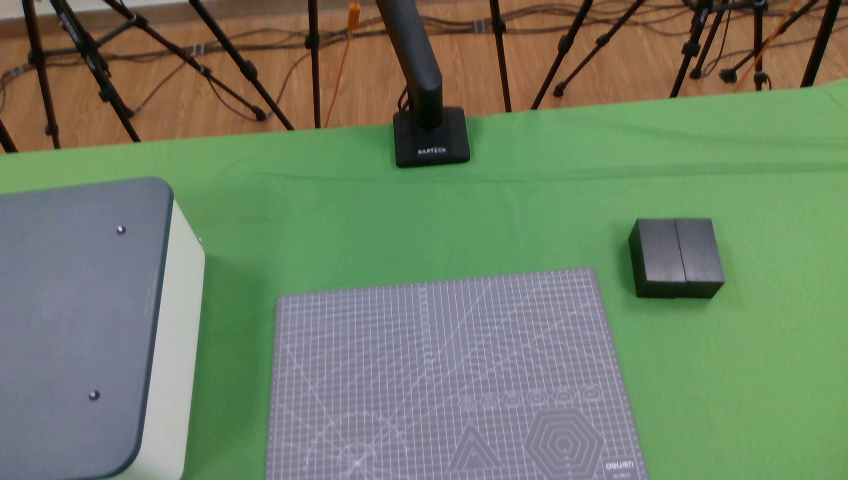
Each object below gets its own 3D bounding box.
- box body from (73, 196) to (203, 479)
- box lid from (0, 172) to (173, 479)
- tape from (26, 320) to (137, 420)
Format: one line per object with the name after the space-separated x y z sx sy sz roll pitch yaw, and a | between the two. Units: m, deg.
-0.425 0.122 0.738 0.254 0.162 0.360 -6 59 -2 | box body
-0.428 0.081 0.675 0.263 0.015 0.368 -6 60 -2 | box lid
-0.432 0.164 0.769 0.117 0.053 0.116 -2 57 4 | tape
